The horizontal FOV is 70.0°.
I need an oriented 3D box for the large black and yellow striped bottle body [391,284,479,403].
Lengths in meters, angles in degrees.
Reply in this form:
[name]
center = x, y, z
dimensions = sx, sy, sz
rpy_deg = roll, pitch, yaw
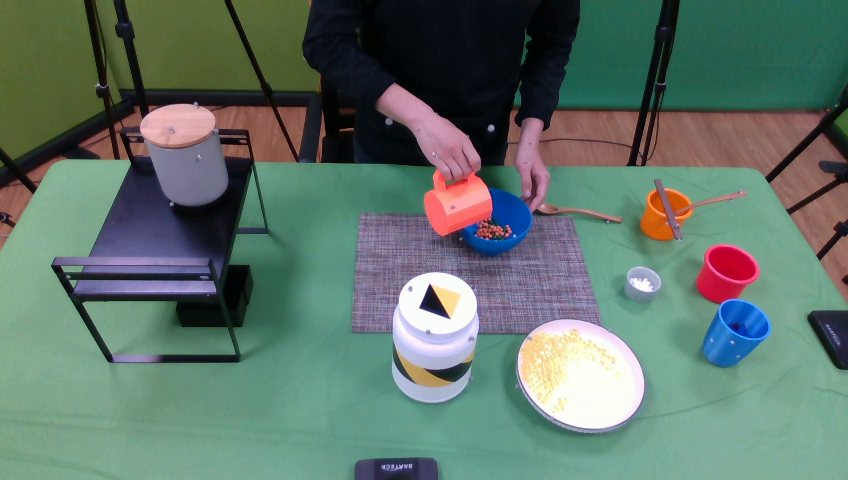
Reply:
[large black and yellow striped bottle body]
center = 0.015, 0.153, 0.938
dimensions = 0.131, 0.185, 0.130
rpy_deg = 2, 46, -2

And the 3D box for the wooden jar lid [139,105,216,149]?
[wooden jar lid]
center = -0.372, -0.169, 0.920
dimensions = 0.108, 0.021, 0.107
rpy_deg = 4, 44, -4

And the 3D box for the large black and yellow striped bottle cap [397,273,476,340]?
[large black and yellow striped bottle cap]
center = 0.018, 0.094, 0.878
dimensions = 0.115, 0.019, 0.114
rpy_deg = 3, 46, -3

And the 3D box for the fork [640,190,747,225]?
[fork]
center = 0.533, -0.065, 1.211
dimensions = 0.207, 0.019, 0.028
rpy_deg = -22, 28, 39

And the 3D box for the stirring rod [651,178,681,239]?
[stirring rod]
center = 0.480, -0.065, 1.204
dimensions = 0.014, 0.006, 0.175
rpy_deg = 2, 46, -2

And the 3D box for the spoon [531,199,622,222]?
[spoon]
center = 0.321, -0.060, 1.279
dimensions = 0.194, 0.022, 0.041
rpy_deg = 8, 33, 4

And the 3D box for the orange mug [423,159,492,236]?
[orange mug]
center = 0.058, -0.080, 1.095
dimensions = 0.101, 0.127, 0.083
rpy_deg = -19, 29, -23

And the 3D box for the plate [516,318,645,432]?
[plate]
center = 0.253, 0.221, 0.992
dimensions = 0.209, 0.038, 0.208
rpy_deg = 2, 46, -2

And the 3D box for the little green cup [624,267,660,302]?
[little green cup]
center = 0.406, 0.084, 1.135
dimensions = 0.061, 0.039, 0.061
rpy_deg = 3, 45, -3

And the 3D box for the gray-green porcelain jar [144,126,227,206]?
[gray-green porcelain jar]
center = -0.375, -0.125, 0.967
dimensions = 0.106, 0.127, 0.105
rpy_deg = 2, 46, -2

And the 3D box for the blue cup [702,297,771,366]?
[blue cup]
center = 0.519, 0.162, 1.025
dimensions = 0.093, 0.101, 0.092
rpy_deg = 3, 45, -3

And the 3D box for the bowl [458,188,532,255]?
[bowl]
center = 0.130, -0.024, 1.187
dimensions = 0.151, 0.077, 0.150
rpy_deg = 2, 45, -2
